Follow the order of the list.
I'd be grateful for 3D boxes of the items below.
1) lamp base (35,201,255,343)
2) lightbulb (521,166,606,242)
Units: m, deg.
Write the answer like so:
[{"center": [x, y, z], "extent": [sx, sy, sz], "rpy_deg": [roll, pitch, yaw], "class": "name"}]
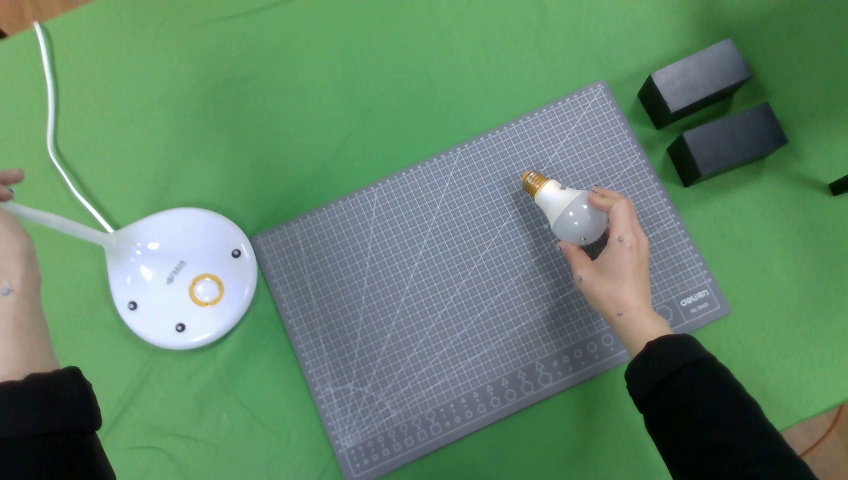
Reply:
[{"center": [-0.284, 0.015, 0.604], "extent": [0.179, 0.181, 0.160], "rpy_deg": [21, 81, 9], "class": "lamp base"}, {"center": [0.146, -0.043, 0.652], "extent": [0.059, 0.060, 0.107], "rpy_deg": [-44, 70, -6], "class": "lightbulb"}]
